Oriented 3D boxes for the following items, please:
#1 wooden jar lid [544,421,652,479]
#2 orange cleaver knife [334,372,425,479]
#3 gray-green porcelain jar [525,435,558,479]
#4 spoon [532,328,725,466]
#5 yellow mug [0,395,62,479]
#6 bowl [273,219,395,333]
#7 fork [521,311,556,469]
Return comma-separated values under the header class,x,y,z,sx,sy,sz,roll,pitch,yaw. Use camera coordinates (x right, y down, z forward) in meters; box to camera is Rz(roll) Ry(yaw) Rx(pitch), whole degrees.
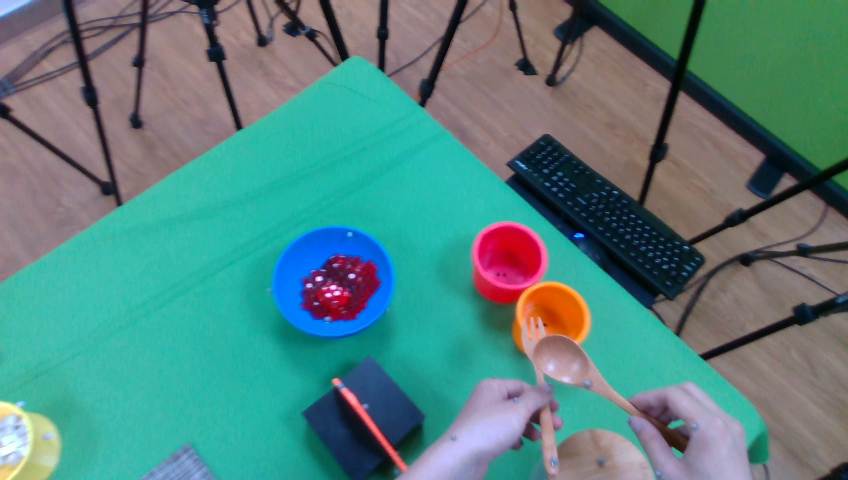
class,x,y,z,sx,sy,sz,roll,pitch,yaw
wooden jar lid,0.175,0.239,0.613,0.108,0.021,0.107,1,64,-1
orange cleaver knife,-0.036,0.237,0.696,0.012,0.077,0.212,-38,96,-16
gray-green porcelain jar,0.172,0.268,0.671,0.106,0.127,0.105,1,63,-3
spoon,0.182,0.143,0.543,0.193,0.022,0.041,35,94,13
yellow mug,-0.479,0.243,0.672,0.100,0.064,0.130,16,64,4
bowl,-0.112,0.057,0.781,0.151,0.077,0.150,2,64,-3
fork,0.118,0.143,0.620,0.028,0.019,0.205,6,32,1
